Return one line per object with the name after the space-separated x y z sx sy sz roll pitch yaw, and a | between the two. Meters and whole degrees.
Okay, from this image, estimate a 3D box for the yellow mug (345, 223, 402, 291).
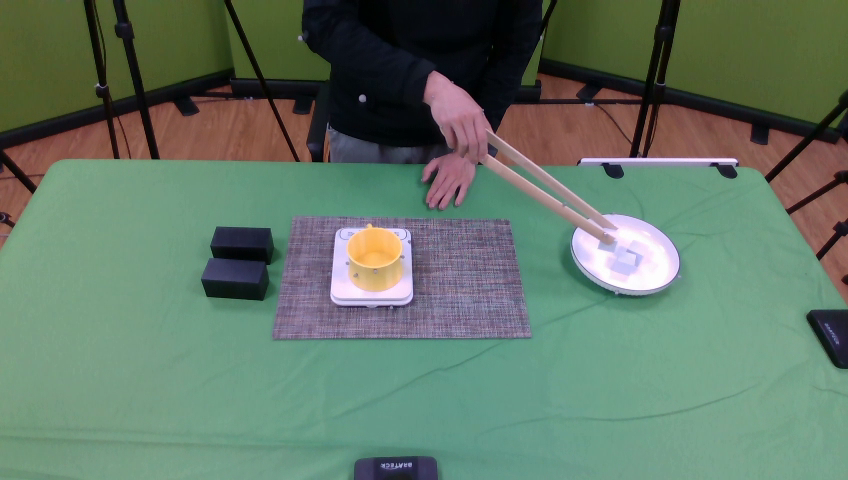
-0.092 0.022 1.093 0.100 0.064 0.130 -8 46 -10 | yellow mug

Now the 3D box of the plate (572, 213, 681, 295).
0.392 0.030 1.189 0.208 0.039 0.206 2 46 -2 | plate

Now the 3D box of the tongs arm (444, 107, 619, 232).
0.197 -0.128 1.114 0.388 0.028 0.028 35 58 -4 | tongs arm

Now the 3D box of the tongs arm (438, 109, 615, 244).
0.187 -0.112 1.100 0.385 0.026 0.050 31 55 -7 | tongs arm

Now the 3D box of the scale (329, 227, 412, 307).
-0.099 0.042 1.139 0.149 0.032 0.199 1 46 -4 | scale
